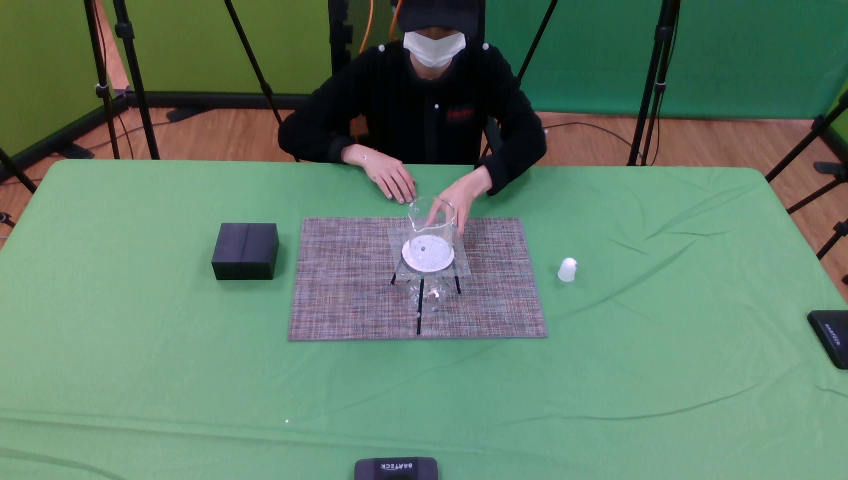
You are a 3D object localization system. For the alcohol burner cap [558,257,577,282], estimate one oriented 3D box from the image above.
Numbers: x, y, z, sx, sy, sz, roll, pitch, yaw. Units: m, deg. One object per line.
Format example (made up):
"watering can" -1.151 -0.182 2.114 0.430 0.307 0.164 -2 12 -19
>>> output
"alcohol burner cap" 0.276 0.053 1.153 0.034 0.048 0.033 2 46 -2

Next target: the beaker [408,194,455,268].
"beaker" 0.009 -0.010 0.965 0.074 0.101 0.084 23 50 20

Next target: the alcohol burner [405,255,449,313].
"alcohol burner" 0.006 0.071 1.060 0.078 0.120 0.077 1 45 -1

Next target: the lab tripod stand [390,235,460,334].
"lab tripod stand" -0.002 0.067 1.050 0.148 0.132 0.147 1 47 -1

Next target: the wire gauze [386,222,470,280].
"wire gauze" 0.005 0.018 1.006 0.125 0.011 0.120 -7 45 -5
